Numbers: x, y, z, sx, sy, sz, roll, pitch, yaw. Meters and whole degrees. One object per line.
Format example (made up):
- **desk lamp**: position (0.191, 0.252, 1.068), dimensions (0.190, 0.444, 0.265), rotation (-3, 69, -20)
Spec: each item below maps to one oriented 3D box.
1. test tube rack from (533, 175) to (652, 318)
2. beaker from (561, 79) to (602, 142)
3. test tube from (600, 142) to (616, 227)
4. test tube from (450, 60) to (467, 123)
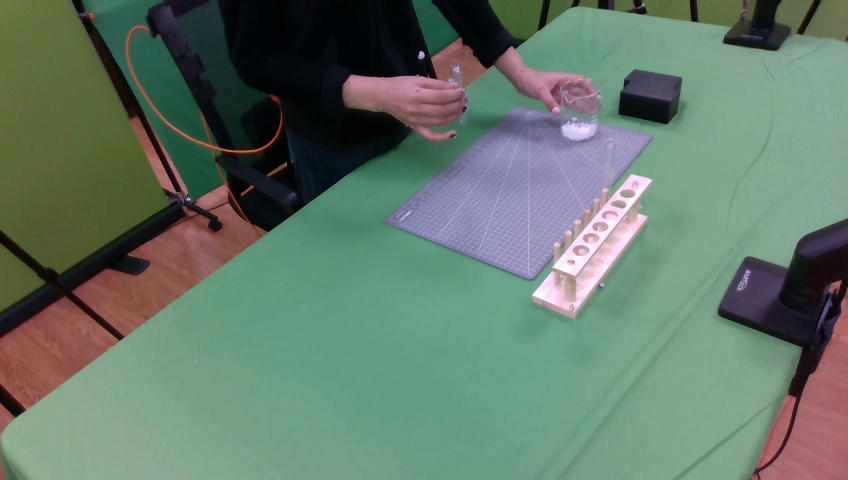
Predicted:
- **test tube rack**: position (0.251, -0.001, 0.888), dimensions (0.066, 0.085, 0.243), rotation (22, 49, 33)
- **beaker**: position (0.295, -0.243, 1.150), dimensions (0.073, 0.101, 0.084), rotation (21, 50, 32)
- **test tube**: position (0.275, -0.081, 0.908), dimensions (0.017, 0.151, 0.017), rotation (-5, 40, 5)
- **test tube**: position (0.056, -0.234, 0.968), dimensions (0.017, 0.151, 0.017), rotation (-3, 66, 7)
